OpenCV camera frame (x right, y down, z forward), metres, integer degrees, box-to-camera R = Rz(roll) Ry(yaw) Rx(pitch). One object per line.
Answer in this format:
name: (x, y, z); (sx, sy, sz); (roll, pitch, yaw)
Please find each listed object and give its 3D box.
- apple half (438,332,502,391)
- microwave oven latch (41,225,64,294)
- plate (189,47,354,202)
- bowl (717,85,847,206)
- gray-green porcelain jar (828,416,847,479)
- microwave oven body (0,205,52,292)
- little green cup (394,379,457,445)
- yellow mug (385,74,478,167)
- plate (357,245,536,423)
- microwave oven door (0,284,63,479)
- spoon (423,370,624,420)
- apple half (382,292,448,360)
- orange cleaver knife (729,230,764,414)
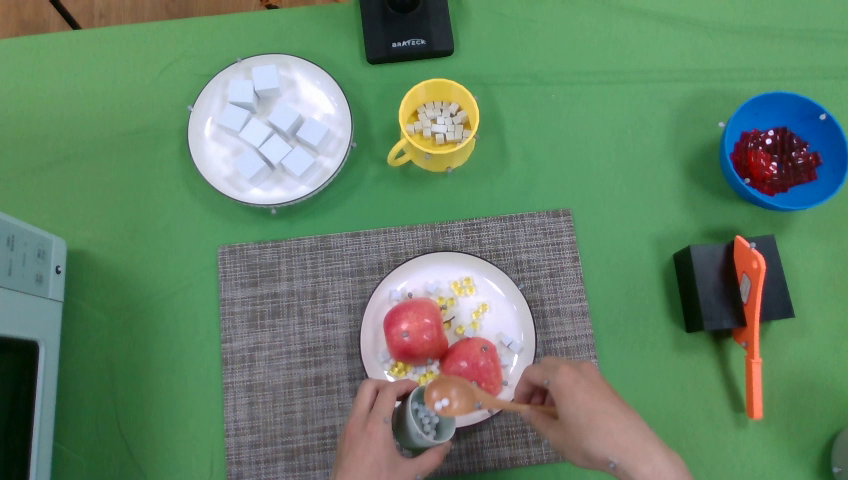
apple half: (0.054, 0.145, 0.705); (0.081, 0.033, 0.081); (0, 74, 0)
microwave oven latch: (-0.450, 0.024, 0.721); (0.030, 0.029, 0.079); (-1, 78, -1)
plate: (-0.192, -0.146, 0.780); (0.208, 0.039, 0.206); (0, 77, 0)
bowl: (0.429, -0.106, 0.753); (0.151, 0.077, 0.150); (0, 78, 0)
gray-green porcelain jar: (0.517, 0.239, 0.652); (0.106, 0.127, 0.105); (0, 77, 0)
microwave oven body: (-0.588, 0.182, 0.587); (0.326, 0.261, 0.439); (-3, 78, -1)
little green cup: (-0.001, 0.180, 0.627); (0.062, 0.039, 0.061); (18, 41, -16)
yellow mug: (0.005, -0.141, 0.765); (0.131, 0.064, 0.099); (-38, 80, -8)
plate: (0.026, 0.110, 0.720); (0.209, 0.038, 0.208); (0, 78, -1)
microwave oven door: (-0.439, 0.214, 0.575); (0.039, 0.245, 0.354); (-4, 77, -1)
spoon: (0.090, 0.155, 0.581); (0.193, 0.022, 0.041); (2, 85, 26)
apple half: (-0.012, 0.099, 0.706); (0.075, 0.053, 0.080); (-9, 78, 0)
orange cleaver knife: (0.373, 0.095, 0.706); (0.012, 0.077, 0.212); (-5, 101, 3)
